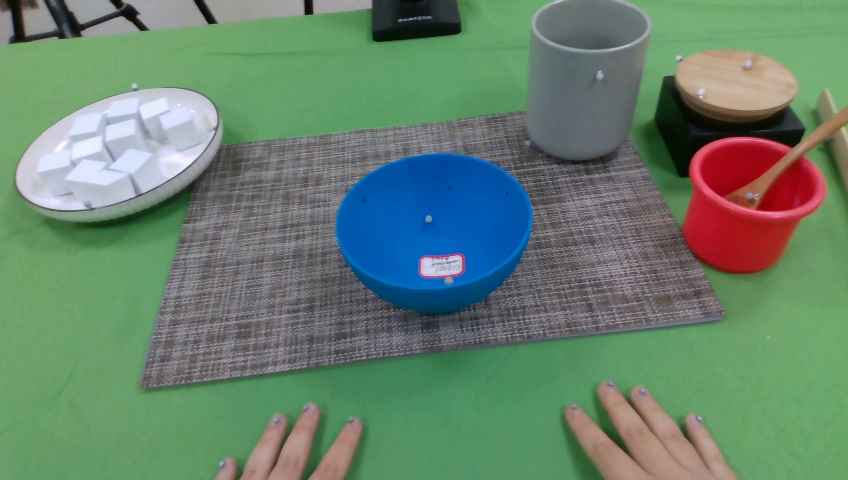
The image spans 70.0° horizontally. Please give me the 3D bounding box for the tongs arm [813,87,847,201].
[{"bbox_3d":[0.384,-0.012,0.506,0.028,0.028,0.384,5,47,8],"label":"tongs arm"}]

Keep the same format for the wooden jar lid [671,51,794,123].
[{"bbox_3d":[0.292,-0.146,0.579,0.108,0.021,0.107,-3,46,4],"label":"wooden jar lid"}]

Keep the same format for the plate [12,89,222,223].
[{"bbox_3d":[-0.313,-0.087,0.636,0.209,0.038,0.207,-3,46,4],"label":"plate"}]

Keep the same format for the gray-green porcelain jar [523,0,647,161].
[{"bbox_3d":[0.150,-0.149,0.586,0.106,0.128,0.105,-3,46,3],"label":"gray-green porcelain jar"}]

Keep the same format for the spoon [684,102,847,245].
[{"bbox_3d":[0.291,-0.063,0.482,0.022,0.194,0.041,27,28,-33],"label":"spoon"}]

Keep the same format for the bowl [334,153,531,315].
[{"bbox_3d":[0.009,0.007,0.484,0.151,0.077,0.150,-3,46,3],"label":"bowl"}]
